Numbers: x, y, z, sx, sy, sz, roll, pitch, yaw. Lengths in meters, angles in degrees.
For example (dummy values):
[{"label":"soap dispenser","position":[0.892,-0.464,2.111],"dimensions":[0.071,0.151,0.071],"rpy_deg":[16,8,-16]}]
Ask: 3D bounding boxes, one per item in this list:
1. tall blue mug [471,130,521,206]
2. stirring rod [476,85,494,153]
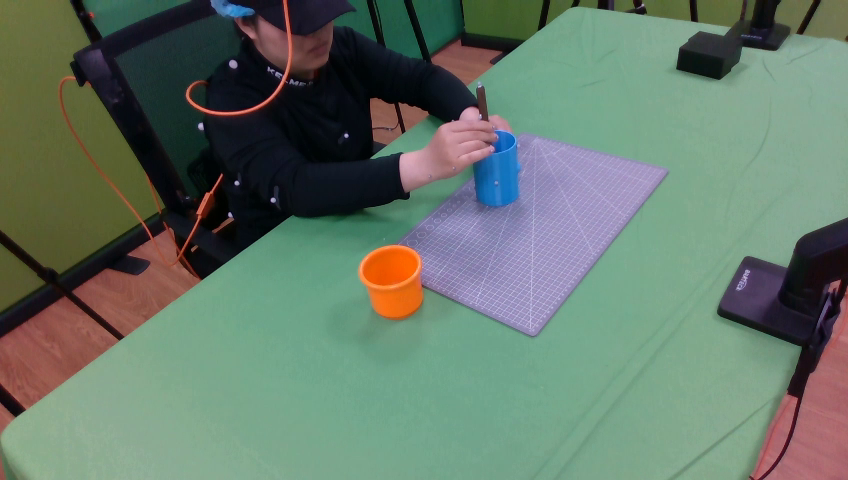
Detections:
[{"label":"tall blue mug","position":[0.118,-0.132,1.046],"dimensions":[0.078,0.108,0.106],"rpy_deg":[-19,41,-10]},{"label":"stirring rod","position":[0.101,-0.166,0.968],"dimensions":[0.014,0.177,0.005],"rpy_deg":[-27,40,-16]}]
